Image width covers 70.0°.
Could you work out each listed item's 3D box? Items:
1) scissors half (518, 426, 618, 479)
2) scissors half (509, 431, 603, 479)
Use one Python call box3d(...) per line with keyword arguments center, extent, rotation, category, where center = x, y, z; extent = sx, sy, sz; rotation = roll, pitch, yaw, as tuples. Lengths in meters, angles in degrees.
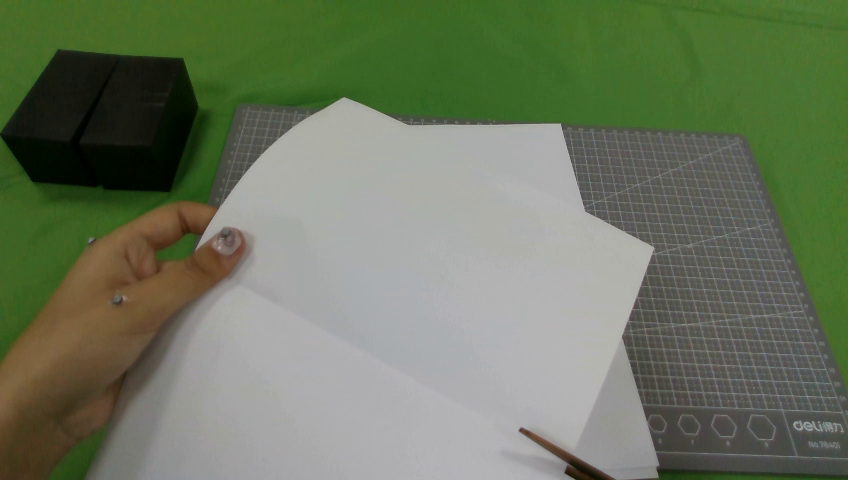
box3d(center=(0.111, 0.125, 0.258), extent=(0.176, 0.040, 0.012), rotation=(34, 70, -8), category="scissors half")
box3d(center=(0.114, 0.116, 0.237), extent=(0.174, 0.040, 0.013), rotation=(22, 63, 20), category="scissors half")
